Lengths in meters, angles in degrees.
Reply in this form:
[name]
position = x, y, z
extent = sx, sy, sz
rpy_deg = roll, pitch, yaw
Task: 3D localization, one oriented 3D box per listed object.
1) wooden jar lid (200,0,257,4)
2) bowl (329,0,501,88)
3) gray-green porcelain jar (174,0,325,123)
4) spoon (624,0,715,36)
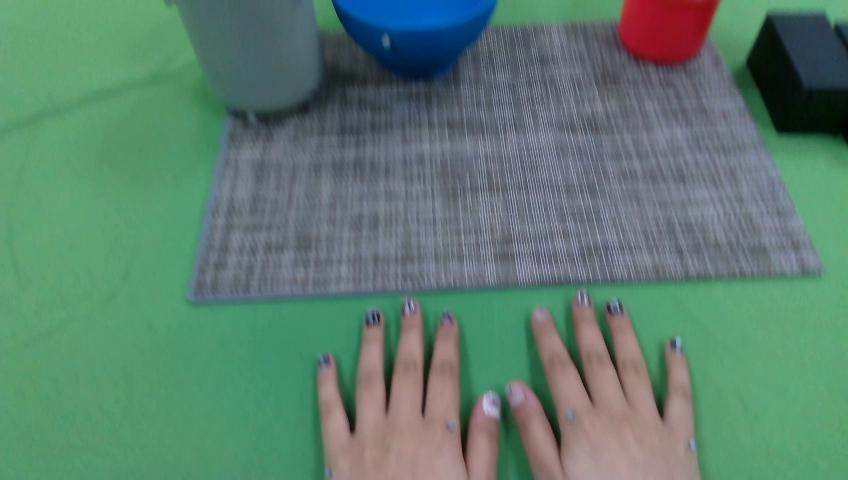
[wooden jar lid]
position = -0.144, -0.212, 0.457
extent = 0.108, 0.021, 0.107
rpy_deg = 0, 52, 0
[bowl]
position = -0.007, -0.194, 0.554
extent = 0.151, 0.077, 0.150
rpy_deg = 0, 53, 1
[gray-green porcelain jar]
position = -0.141, -0.172, 0.509
extent = 0.106, 0.127, 0.105
rpy_deg = 0, 53, 1
[spoon]
position = 0.252, -0.207, 0.519
extent = 0.041, 0.192, 0.022
rpy_deg = -38, 107, -22
